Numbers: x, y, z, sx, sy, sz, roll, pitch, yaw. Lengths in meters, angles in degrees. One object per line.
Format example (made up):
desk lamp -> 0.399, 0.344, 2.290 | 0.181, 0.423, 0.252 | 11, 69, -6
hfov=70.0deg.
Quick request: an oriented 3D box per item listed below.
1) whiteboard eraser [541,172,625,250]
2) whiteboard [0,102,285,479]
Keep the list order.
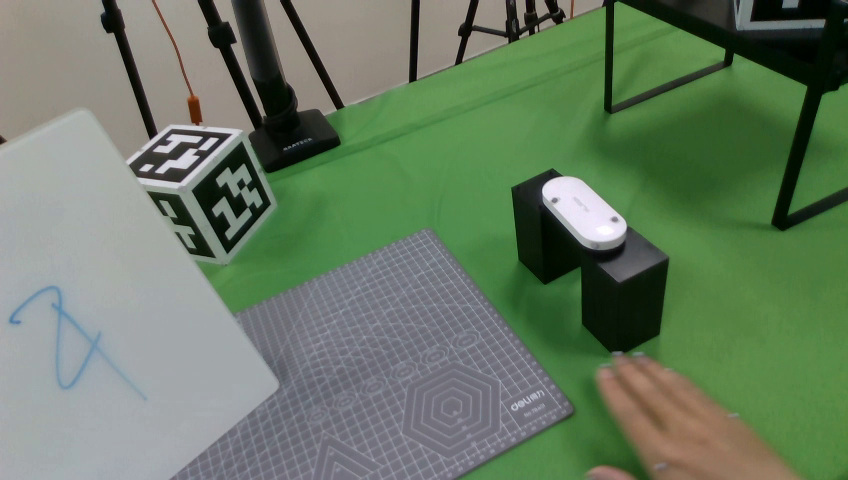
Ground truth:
whiteboard eraser -> 0.140, -0.029, 0.541 | 0.041, 0.019, 0.100 | -21, 43, -9
whiteboard -> -0.310, 0.070, 0.531 | 0.217, 0.308, 0.142 | -39, 28, -25
